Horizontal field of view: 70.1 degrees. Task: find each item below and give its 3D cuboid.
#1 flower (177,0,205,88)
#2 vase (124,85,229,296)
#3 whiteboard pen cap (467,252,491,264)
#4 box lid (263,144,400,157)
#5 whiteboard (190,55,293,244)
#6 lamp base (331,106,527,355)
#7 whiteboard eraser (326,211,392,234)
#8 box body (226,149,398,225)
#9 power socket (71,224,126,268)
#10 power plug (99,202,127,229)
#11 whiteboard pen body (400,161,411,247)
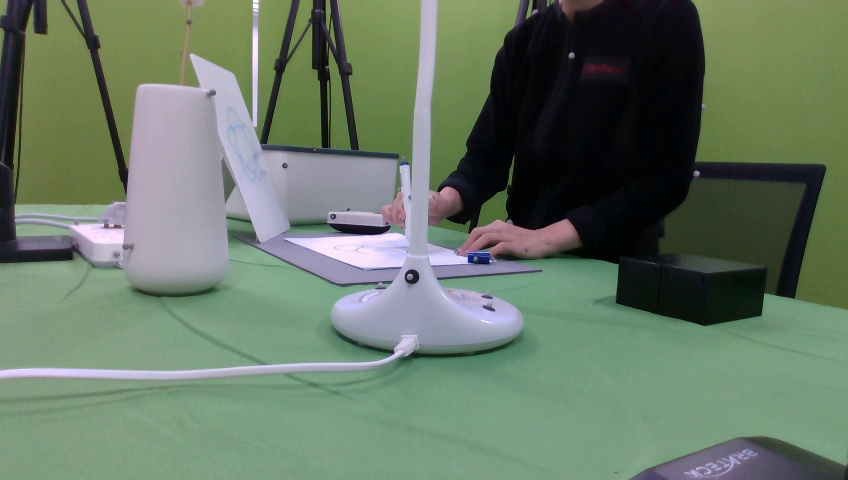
[{"bbox_3d":[-0.243,-0.131,0.609,0.044,0.361,0.038,-5,-12,12],"label":"flower"},{"bbox_3d":[-0.244,-0.047,0.598,0.098,0.200,0.098,3,8,0],"label":"vase"},{"bbox_3d":[0.077,0.025,0.841,0.033,0.018,0.018,1,7,4],"label":"whiteboard pen cap"},{"bbox_3d":[-0.263,-0.203,1.369,0.262,0.015,0.373,9,10,39],"label":"box lid"},{"bbox_3d":[-0.362,-0.129,1.029,0.144,0.305,0.217,-18,7,3],"label":"whiteboard"},{"bbox_3d":[0.006,-0.012,0.478,0.161,0.180,0.179,2,10,2],"label":"lamp base"},{"bbox_3d":[-0.121,-0.033,1.131,0.112,0.042,0.056,4,8,13],"label":"whiteboard eraser"},{"bbox_3d":[-0.265,-0.129,1.380,0.253,0.160,0.366,8,9,39],"label":"box body"},{"bbox_3d":[-0.409,0.004,0.793,0.072,0.032,0.225,-2,8,-37],"label":"power socket"},{"bbox_3d":[-0.415,-0.026,0.848,0.073,0.052,0.035,6,5,-28],"label":"power plug"},{"bbox_3d":[-0.024,-0.050,0.916,0.017,0.140,0.017,-5,-5,0],"label":"whiteboard pen body"}]
